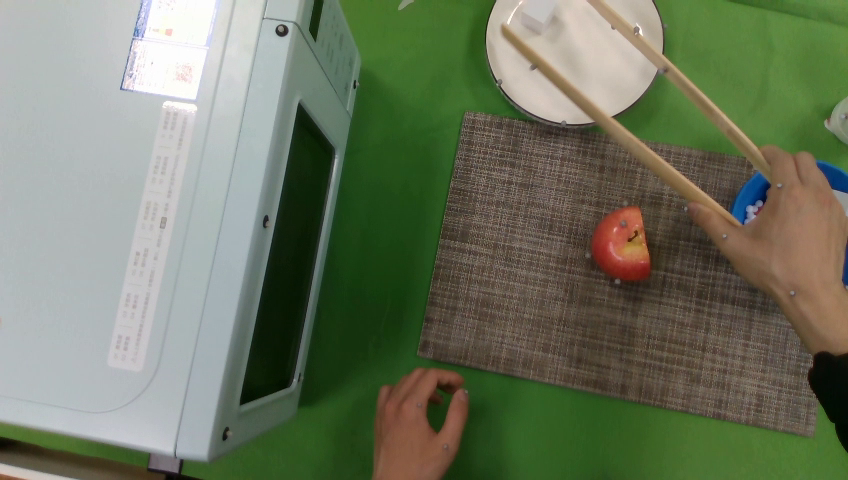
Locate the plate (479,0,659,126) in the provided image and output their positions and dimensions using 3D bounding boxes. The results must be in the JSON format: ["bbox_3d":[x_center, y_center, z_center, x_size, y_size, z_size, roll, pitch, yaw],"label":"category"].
[{"bbox_3d":[0.169,-0.234,0.724,0.207,0.039,0.207,0,84,3],"label":"plate"}]

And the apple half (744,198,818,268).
[{"bbox_3d":[0.391,-0.008,0.656,0.081,0.033,0.081,0,83,3],"label":"apple half"}]

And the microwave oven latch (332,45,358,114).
[{"bbox_3d":[-0.097,-0.191,0.715,0.030,0.029,0.079,9,85,4],"label":"microwave oven latch"}]

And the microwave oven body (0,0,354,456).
[{"bbox_3d":[-0.279,-0.053,0.613,0.326,0.261,0.440,9,85,4],"label":"microwave oven body"}]

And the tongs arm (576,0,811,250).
[{"bbox_3d":[0.244,-0.147,0.615,0.051,0.027,0.381,-33,62,-3],"label":"tongs arm"}]

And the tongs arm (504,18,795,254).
[{"bbox_3d":[0.203,-0.119,0.614,0.028,0.028,0.383,-35,62,-7],"label":"tongs arm"}]

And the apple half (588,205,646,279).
[{"bbox_3d":[0.209,0.005,0.672,0.053,0.075,0.080,-8,86,6],"label":"apple half"}]

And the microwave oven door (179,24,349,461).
[{"bbox_3d":[-0.142,0.010,0.593,0.039,0.244,0.355,9,84,5],"label":"microwave oven door"}]

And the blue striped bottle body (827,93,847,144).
[{"bbox_3d":[0.499,-0.148,0.652,0.063,0.121,0.063,0,82,4],"label":"blue striped bottle body"}]

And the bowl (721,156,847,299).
[{"bbox_3d":[0.391,-0.009,0.660,0.151,0.077,0.151,0,83,4],"label":"bowl"}]
